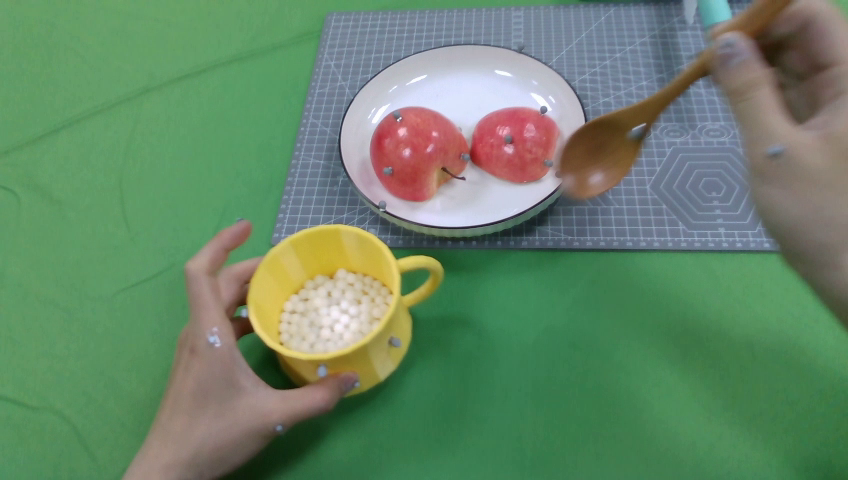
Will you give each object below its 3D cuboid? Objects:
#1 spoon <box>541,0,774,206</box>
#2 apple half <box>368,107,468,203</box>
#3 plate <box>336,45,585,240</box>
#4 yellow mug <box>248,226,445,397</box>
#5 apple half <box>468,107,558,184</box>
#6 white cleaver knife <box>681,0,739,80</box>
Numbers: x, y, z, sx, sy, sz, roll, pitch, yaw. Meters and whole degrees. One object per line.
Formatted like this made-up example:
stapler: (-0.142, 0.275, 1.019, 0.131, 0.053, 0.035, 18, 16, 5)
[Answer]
spoon: (0.124, -0.079, 0.306, 0.041, 0.194, 0.021, 44, 49, 3)
apple half: (-0.008, -0.079, 0.500, 0.081, 0.054, 0.074, -37, 58, -16)
plate: (0.030, -0.084, 0.519, 0.209, 0.038, 0.207, -3, 58, 5)
yellow mug: (-0.047, 0.044, 0.417, 0.131, 0.064, 0.099, -19, 59, -10)
apple half: (0.074, -0.087, 0.507, 0.081, 0.033, 0.080, -3, 60, 5)
white cleaver knife: (0.259, -0.248, 0.579, 0.021, 0.066, 0.284, -1, 54, 11)
